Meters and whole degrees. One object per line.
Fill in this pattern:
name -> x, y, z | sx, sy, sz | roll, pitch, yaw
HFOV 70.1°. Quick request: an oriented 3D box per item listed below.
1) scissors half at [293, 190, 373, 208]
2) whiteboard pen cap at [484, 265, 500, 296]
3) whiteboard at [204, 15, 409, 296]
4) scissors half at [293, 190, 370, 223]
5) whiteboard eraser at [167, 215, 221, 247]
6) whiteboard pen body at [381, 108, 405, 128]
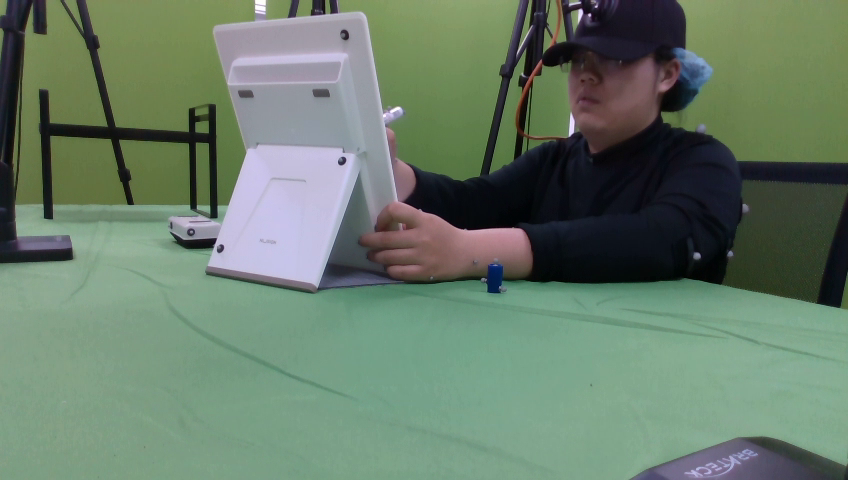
scissors half -> -0.201, -0.096, 1.333 | 0.175, 0.040, 0.013 | 5, 18, -4
whiteboard pen cap -> 0.075, 0.045, 0.668 | 0.018, 0.033, 0.018 | 3, 6, 0
whiteboard -> -0.166, -0.072, 0.669 | 0.216, 0.305, 0.144 | 8, 30, 30
scissors half -> -0.205, -0.078, 1.338 | 0.175, 0.040, 0.013 | 22, 11, -8
whiteboard eraser -> -0.350, -0.013, 0.920 | 0.056, 0.042, 0.112 | 0, 7, -35
whiteboard pen body -> -0.061, -0.166, 0.858 | 0.017, 0.017, 0.141 | 6, 26, 23
